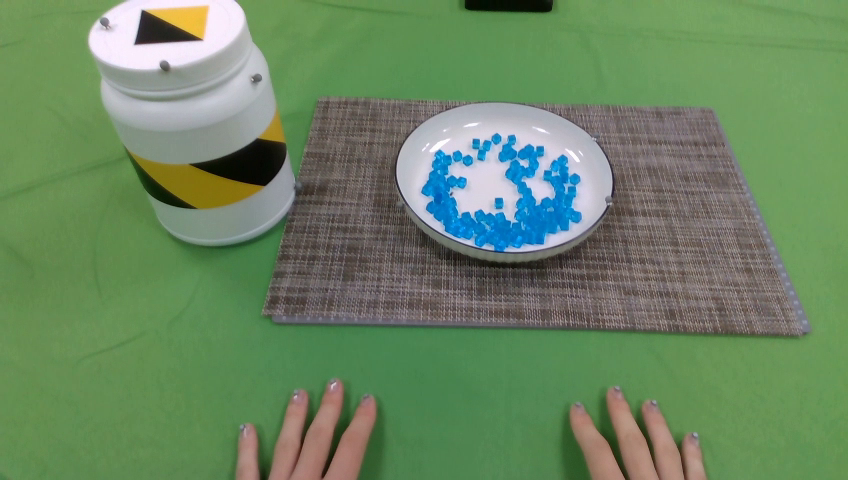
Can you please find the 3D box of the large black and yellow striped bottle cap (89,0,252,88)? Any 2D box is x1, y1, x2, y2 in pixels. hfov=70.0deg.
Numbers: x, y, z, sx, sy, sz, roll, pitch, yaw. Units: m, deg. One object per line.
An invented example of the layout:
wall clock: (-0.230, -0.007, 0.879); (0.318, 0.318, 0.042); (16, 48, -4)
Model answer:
large black and yellow striped bottle cap: (-0.191, -0.156, 0.461); (0.115, 0.019, 0.114); (2, 49, -2)

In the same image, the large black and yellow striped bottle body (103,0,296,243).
large black and yellow striped bottle body: (-0.190, -0.101, 0.525); (0.131, 0.185, 0.129); (0, 50, 0)

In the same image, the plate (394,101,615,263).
plate: (0.075, -0.056, 0.583); (0.208, 0.039, 0.205); (1, 50, -1)
